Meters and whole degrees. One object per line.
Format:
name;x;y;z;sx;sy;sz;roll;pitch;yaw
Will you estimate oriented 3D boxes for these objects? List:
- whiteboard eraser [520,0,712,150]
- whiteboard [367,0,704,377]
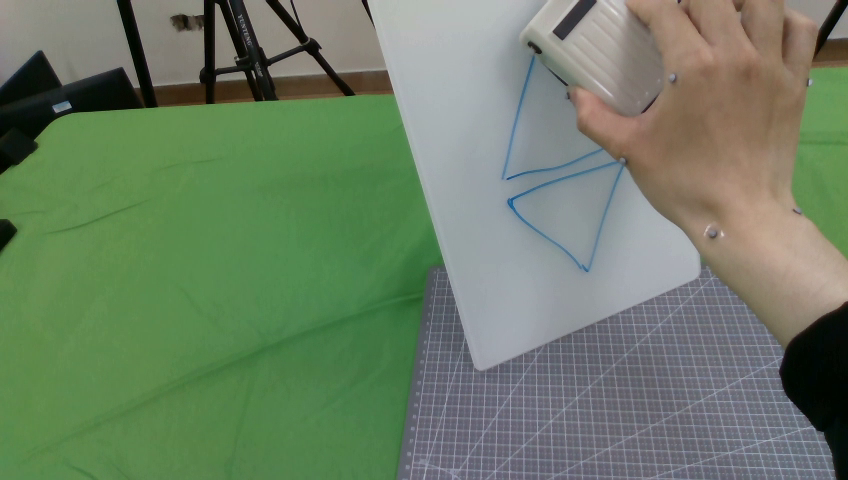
whiteboard eraser;0.119;-0.113;0.382;0.055;0.113;0.042;-49;3;11
whiteboard;0.083;-0.084;0.501;0.217;0.308;0.142;-21;25;-9
